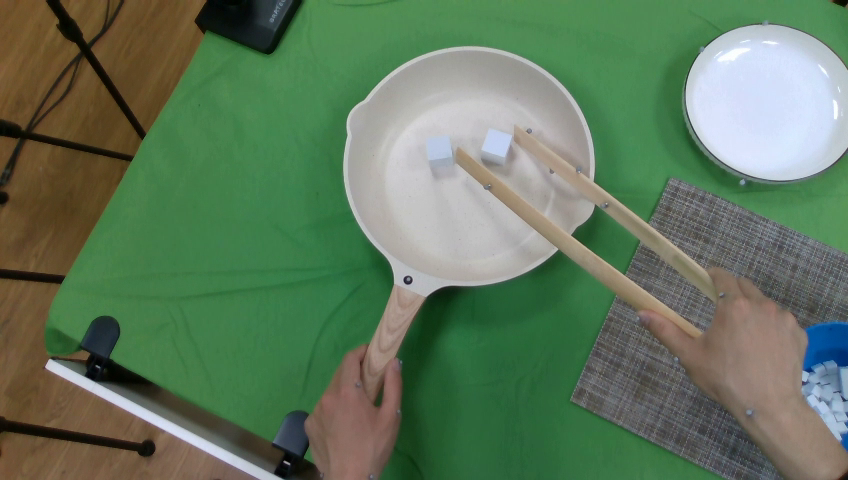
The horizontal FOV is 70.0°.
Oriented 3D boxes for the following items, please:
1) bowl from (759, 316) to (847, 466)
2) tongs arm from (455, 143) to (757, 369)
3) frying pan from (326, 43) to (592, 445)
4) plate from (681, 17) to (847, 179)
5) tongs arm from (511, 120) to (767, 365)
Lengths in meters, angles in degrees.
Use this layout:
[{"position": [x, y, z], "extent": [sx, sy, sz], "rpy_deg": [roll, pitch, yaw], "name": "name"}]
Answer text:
[{"position": [0.427, 0.160, 0.651], "extent": [0.151, 0.077, 0.150], "rpy_deg": [-1, 79, 3], "name": "bowl"}, {"position": [0.154, -0.001, 0.619], "extent": [0.028, 0.028, 0.383], "rpy_deg": [-26, 50, -27], "name": "tongs arm"}, {"position": [0.005, -0.001, 0.697], "extent": [0.306, 0.103, 0.486], "rpy_deg": [24, 72, 8], "name": "frying pan"}, {"position": [0.419, -0.170, 0.744], "extent": [0.207, 0.039, 0.206], "rpy_deg": [-1, 78, 3], "name": "plate"}, {"position": [0.196, -0.021, 0.636], "extent": [0.051, 0.027, 0.380], "rpy_deg": [-25, 50, -22], "name": "tongs arm"}]
